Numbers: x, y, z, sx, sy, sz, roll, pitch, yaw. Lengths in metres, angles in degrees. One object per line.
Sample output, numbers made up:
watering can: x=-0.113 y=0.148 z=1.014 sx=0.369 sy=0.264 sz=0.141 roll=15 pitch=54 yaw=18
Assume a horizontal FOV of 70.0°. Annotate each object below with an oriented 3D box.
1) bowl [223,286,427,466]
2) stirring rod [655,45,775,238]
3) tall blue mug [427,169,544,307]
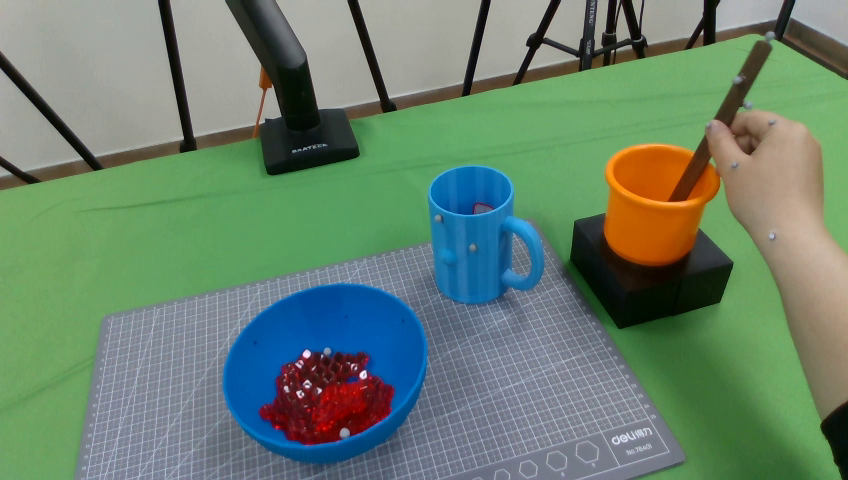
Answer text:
bowl: x=-0.069 y=0.116 z=0.470 sx=0.151 sy=0.077 sz=0.150 roll=-3 pitch=41 yaw=3
stirring rod: x=0.235 y=-0.075 z=0.501 sx=0.006 sy=0.177 sz=0.014 roll=-12 pitch=43 yaw=-35
tall blue mug: x=0.059 y=0.001 z=0.563 sx=0.107 sy=0.109 sz=0.077 roll=5 pitch=42 yaw=12
